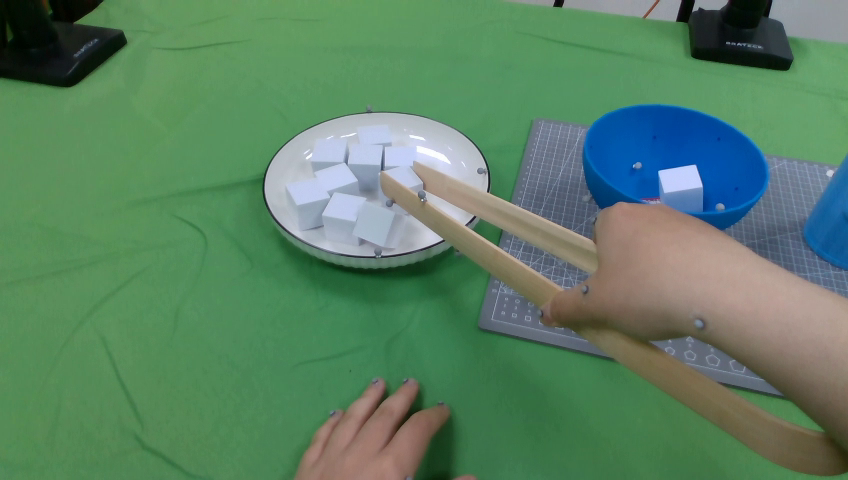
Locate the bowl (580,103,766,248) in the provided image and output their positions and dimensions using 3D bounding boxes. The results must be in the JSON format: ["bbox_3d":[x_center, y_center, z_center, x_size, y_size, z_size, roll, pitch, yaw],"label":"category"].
[{"bbox_3d":[0.207,-0.046,0.535,0.151,0.077,0.150,1,46,0],"label":"bowl"}]

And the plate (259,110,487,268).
[{"bbox_3d":[-0.045,-0.048,0.565,0.209,0.038,0.207,1,46,-1],"label":"plate"}]

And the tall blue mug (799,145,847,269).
[{"bbox_3d":[0.392,-0.032,0.501,0.106,0.109,0.077,20,48,18],"label":"tall blue mug"}]

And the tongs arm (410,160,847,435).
[{"bbox_3d":[0.099,0.013,0.412,0.028,0.028,0.383,-17,33,-32],"label":"tongs arm"}]

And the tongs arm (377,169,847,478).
[{"bbox_3d":[0.080,0.021,0.401,0.051,0.027,0.380,-18,34,-27],"label":"tongs arm"}]
